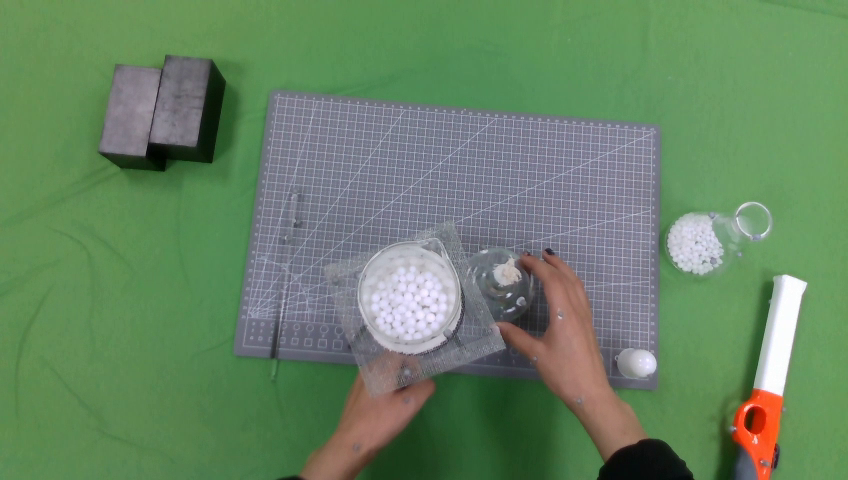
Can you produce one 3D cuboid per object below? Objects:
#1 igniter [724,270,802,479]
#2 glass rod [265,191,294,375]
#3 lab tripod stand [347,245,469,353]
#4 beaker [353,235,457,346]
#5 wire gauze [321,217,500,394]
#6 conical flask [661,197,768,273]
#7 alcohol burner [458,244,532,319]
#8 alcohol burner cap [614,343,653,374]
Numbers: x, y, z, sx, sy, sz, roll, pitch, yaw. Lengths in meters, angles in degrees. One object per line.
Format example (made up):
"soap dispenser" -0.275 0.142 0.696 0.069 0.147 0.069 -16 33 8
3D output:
"igniter" 0.355 0.165 0.638 0.057 0.025 0.275 20 79 -8
"glass rod" -0.154 0.044 0.650 0.008 0.008 0.199 6 82 -1
"lab tripod stand" -0.014 0.067 0.587 0.148 0.132 0.148 0 81 -1
"beaker" -0.013 0.042 0.476 0.074 0.100 0.084 26 79 3
"wire gauze" -0.012 0.055 0.523 0.125 0.011 0.121 -20 83 -7
"conical flask" 0.301 -0.011 0.621 0.075 0.122 0.075 0 78 -1
"alcohol burner" 0.073 0.039 0.605 0.078 0.119 0.077 0 77 0
"alcohol burner cap" 0.221 0.123 0.631 0.034 0.048 0.033 0 78 -2
